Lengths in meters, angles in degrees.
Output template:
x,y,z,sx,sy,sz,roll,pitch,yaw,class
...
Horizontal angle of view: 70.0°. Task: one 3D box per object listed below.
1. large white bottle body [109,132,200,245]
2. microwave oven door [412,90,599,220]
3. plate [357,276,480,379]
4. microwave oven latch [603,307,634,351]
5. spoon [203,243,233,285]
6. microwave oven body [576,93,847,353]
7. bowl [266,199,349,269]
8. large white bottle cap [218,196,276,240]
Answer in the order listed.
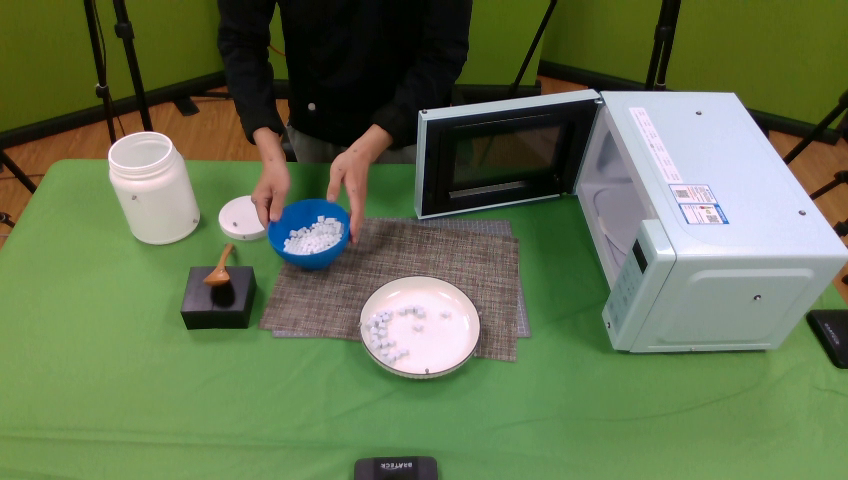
x,y,z,sx,sy,sz,roll,pitch,yaw,class
-0.506,-0.097,1.141,0.131,0.185,0.130,2,46,-2,large white bottle body
0.156,-0.167,1.200,0.356,0.245,0.039,-10,47,-14,microwave oven door
-0.009,0.151,1.038,0.209,0.038,0.208,2,47,-2,plate
0.332,0.153,1.044,0.030,0.029,0.078,0,45,-4,microwave oven latch
-0.360,0.039,1.087,0.041,0.022,0.192,-6,24,-6,spoon
0.475,-0.041,1.109,0.326,0.261,0.438,-1,45,-4,microwave oven body
-0.210,0.001,1.124,0.151,0.077,0.150,-1,46,1,bowl
-0.355,-0.046,1.220,0.115,0.018,0.114,1,45,-1,large white bottle cap
